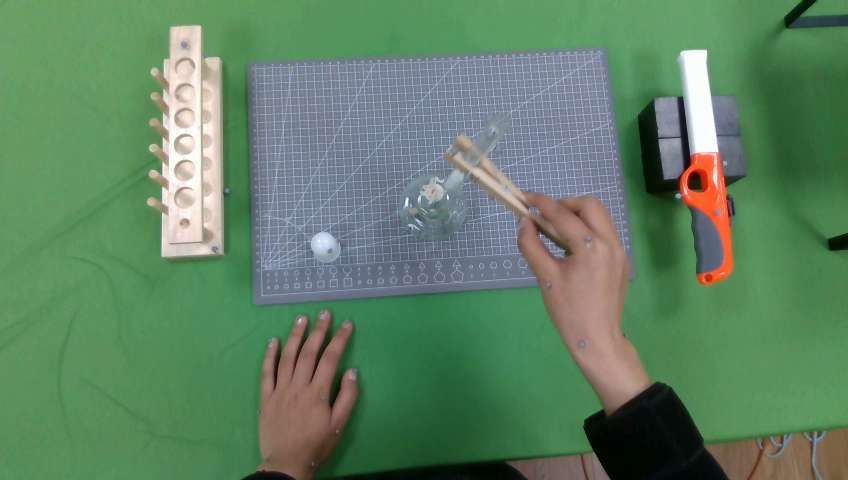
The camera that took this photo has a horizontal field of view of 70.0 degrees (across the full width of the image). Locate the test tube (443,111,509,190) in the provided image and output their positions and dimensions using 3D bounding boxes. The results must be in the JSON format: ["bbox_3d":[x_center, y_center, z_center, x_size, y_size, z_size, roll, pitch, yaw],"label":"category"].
[{"bbox_3d":[0.040,-0.071,0.512,0.017,0.150,0.017,3,76,-12],"label":"test tube"}]

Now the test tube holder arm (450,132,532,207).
[{"bbox_3d":[0.058,-0.058,0.521,0.088,0.015,0.010,45,70,-3],"label":"test tube holder arm"}]

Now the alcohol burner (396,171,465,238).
[{"bbox_3d":[0.008,-0.043,0.667,0.078,0.119,0.077,0,81,-2],"label":"alcohol burner"}]

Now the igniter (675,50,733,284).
[{"bbox_3d":[0.317,-0.087,0.693,0.057,0.025,0.275,-1,79,3],"label":"igniter"}]

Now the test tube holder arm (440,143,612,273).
[{"bbox_3d":[0.089,-0.026,0.523,0.179,0.015,0.013,37,71,-6],"label":"test tube holder arm"}]

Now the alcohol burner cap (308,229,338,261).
[{"bbox_3d":[-0.116,0.003,0.687,0.034,0.048,0.033,1,78,-2],"label":"alcohol burner cap"}]

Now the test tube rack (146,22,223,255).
[{"bbox_3d":[-0.271,-0.111,0.680,0.067,0.085,0.241,-3,80,-3],"label":"test tube rack"}]
